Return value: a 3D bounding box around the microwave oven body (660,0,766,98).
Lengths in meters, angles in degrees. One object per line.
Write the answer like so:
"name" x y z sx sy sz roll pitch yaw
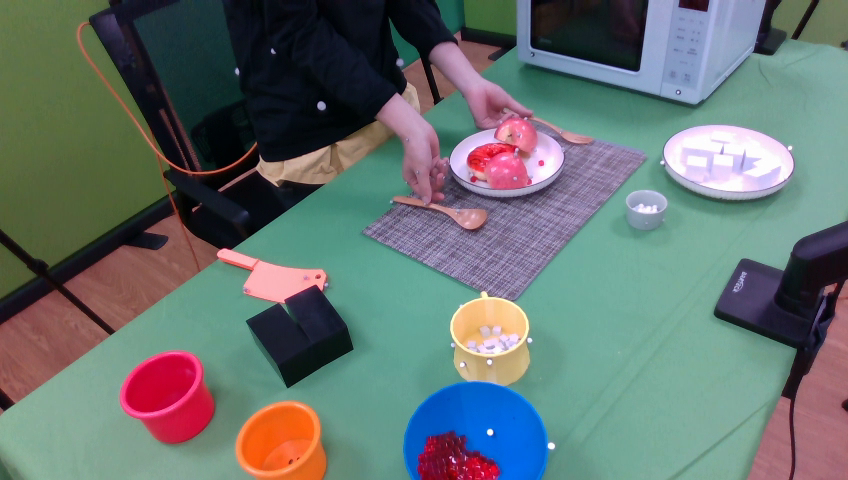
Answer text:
"microwave oven body" 0.472 -0.513 1.317 0.438 0.261 0.327 26 51 34

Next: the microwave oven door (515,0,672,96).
"microwave oven door" 0.343 -0.455 1.259 0.353 0.245 0.039 26 51 33

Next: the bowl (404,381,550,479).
"bowl" 0.058 0.235 0.645 0.151 0.077 0.150 -4 39 4

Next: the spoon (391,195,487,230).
"spoon" 0.022 -0.054 1.028 0.192 0.022 0.041 18 75 28

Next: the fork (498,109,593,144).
"fork" 0.235 -0.225 1.192 0.206 0.019 0.028 28 52 25

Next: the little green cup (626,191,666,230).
"little green cup" 0.352 -0.046 0.963 0.061 0.039 0.061 -4 40 4

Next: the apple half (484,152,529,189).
"apple half" 0.144 -0.117 1.031 0.081 0.033 0.081 3 78 -11

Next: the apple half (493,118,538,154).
"apple half" 0.175 -0.196 1.113 0.080 0.053 0.075 29 12 34

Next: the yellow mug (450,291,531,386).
"yellow mug" 0.085 0.120 0.786 0.100 0.064 0.130 -7 39 1

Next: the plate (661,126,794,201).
"plate" 0.513 -0.128 1.035 0.207 0.039 0.206 -4 40 4

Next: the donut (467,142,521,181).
"donut" 0.126 -0.143 1.090 0.099 0.048 0.098 -6 36 5

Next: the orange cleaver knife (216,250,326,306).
"orange cleaver knife" -0.248 0.058 0.945 0.210 0.012 0.077 12 49 20

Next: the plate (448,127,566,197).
"plate" 0.150 -0.138 1.096 0.209 0.038 0.208 -4 40 4

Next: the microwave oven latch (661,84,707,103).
"microwave oven latch" 0.517 -0.296 1.204 0.078 0.029 0.030 27 52 35
